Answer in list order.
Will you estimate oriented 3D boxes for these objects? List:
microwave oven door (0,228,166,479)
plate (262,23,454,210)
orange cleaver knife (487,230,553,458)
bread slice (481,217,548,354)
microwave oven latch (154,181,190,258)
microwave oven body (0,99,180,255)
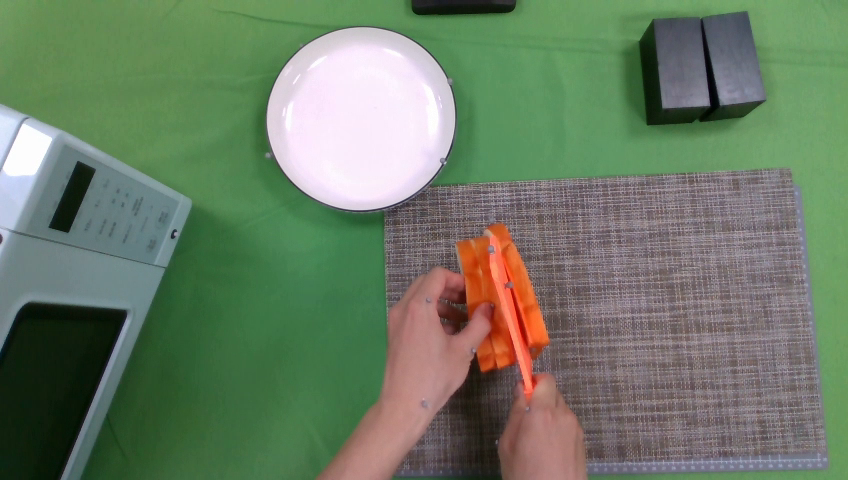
[{"bbox_3d":[-0.354,0.167,0.514,0.039,0.244,0.355,19,83,5],"label":"microwave oven door"},{"bbox_3d":[-0.070,-0.132,0.667,0.208,0.039,0.207,0,83,1],"label":"plate"},{"bbox_3d":[0.088,0.095,0.557,0.012,0.077,0.212,-14,100,14],"label":"orange cleaver knife"},{"bbox_3d":[0.085,0.044,0.601,0.018,0.107,0.133,-16,74,-5],"label":"bread slice"},{"bbox_3d":[-0.275,-0.023,0.639,0.030,0.029,0.079,22,84,4],"label":"microwave oven latch"},{"bbox_3d":[-0.477,0.080,0.533,0.326,0.261,0.441,20,84,3],"label":"microwave oven body"}]
